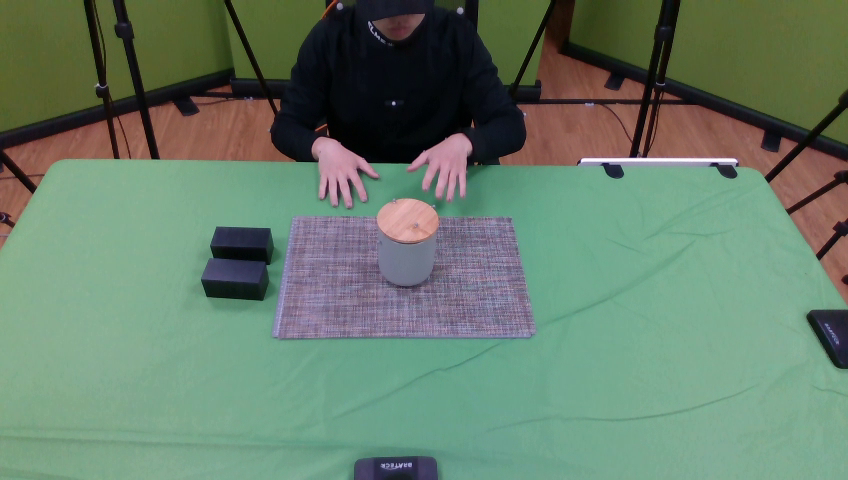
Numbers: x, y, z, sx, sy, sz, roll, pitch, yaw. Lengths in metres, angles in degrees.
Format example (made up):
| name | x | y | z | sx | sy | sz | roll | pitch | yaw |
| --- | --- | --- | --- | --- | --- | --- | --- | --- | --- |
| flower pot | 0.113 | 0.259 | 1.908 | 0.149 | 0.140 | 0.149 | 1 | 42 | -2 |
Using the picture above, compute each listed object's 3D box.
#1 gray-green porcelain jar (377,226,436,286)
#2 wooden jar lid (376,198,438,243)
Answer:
| name | x | y | z | sx | sy | sz | roll | pitch | yaw |
| --- | --- | --- | --- | --- | --- | --- | --- | --- | --- |
| gray-green porcelain jar | -0.033 | 0.014 | 1.106 | 0.106 | 0.127 | 0.105 | 2 | 46 | -2 |
| wooden jar lid | -0.029 | -0.031 | 1.059 | 0.108 | 0.021 | 0.107 | 2 | 45 | -2 |
